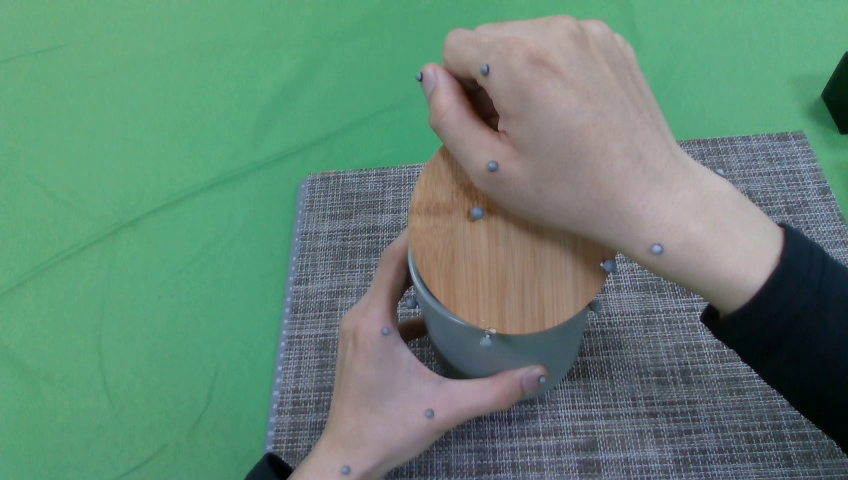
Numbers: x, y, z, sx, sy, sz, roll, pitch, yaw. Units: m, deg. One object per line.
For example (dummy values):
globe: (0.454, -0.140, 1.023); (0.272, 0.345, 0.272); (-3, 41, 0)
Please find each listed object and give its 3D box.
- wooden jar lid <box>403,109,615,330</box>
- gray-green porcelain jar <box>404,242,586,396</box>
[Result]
wooden jar lid: (0.042, -0.010, 0.304); (0.109, 0.020, 0.108); (0, 93, -12)
gray-green porcelain jar: (0.047, 0.034, 0.385); (0.106, 0.127, 0.105); (-3, 57, 5)
